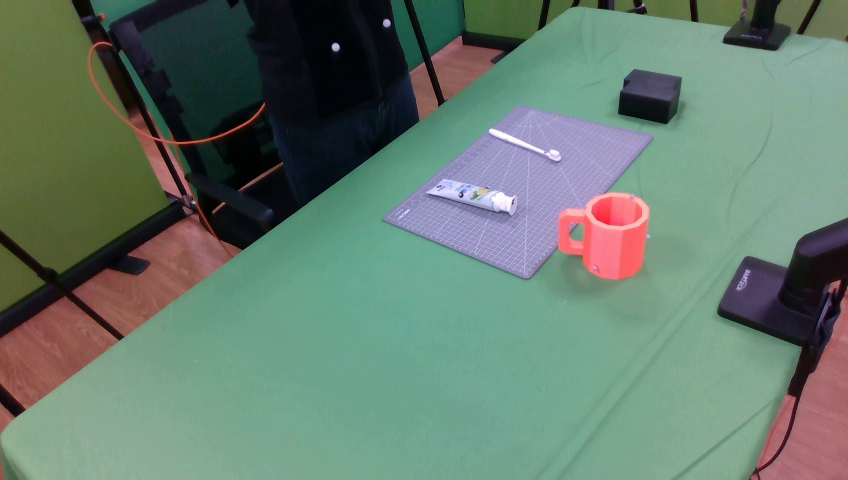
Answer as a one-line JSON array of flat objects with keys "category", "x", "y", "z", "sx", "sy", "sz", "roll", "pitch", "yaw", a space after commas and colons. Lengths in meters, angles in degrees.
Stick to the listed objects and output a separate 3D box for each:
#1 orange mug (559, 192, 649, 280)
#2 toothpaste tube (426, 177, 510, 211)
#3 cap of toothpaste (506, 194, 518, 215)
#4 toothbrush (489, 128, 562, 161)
[{"category": "orange mug", "x": 0.261, "y": -0.008, "z": 0.884, "sx": 0.126, "sy": 0.101, "sz": 0.083, "roll": 9, "pitch": 43, "yaw": 14}, {"category": "toothpaste tube", "x": 0.083, "y": -0.082, "z": 1.054, "sx": 0.164, "sy": 0.034, "sz": 0.055, "roll": 18, "pitch": 40, "yaw": 34}, {"category": "cap of toothpaste", "x": 0.146, "y": -0.060, "z": 1.007, "sx": 0.011, "sy": 0.037, "sz": 0.037, "roll": 14, "pitch": 46, "yaw": 22}, {"category": "toothbrush", "x": 0.191, "y": -0.189, "z": 1.167, "sx": 0.014, "sy": 0.017, "sz": 0.180, "roll": -44, "pitch": 48, "yaw": -16}]
